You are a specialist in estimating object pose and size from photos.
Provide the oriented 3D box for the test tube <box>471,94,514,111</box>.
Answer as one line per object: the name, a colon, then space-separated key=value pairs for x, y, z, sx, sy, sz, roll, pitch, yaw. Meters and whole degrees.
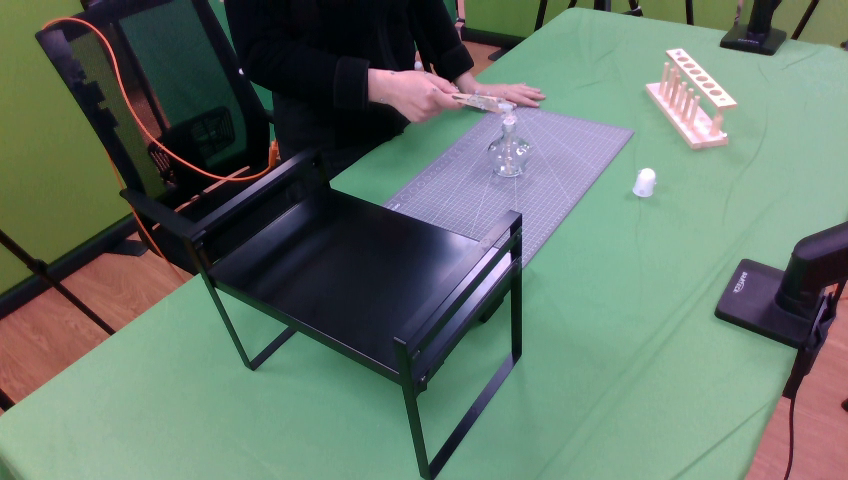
test tube: x=0.113 y=-0.221 z=0.975 sx=0.017 sy=0.017 sz=0.151 roll=18 pitch=15 yaw=27

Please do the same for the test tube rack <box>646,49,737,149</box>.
test tube rack: x=0.511 y=-0.280 z=1.175 sx=0.067 sy=0.085 sz=0.241 roll=-8 pitch=41 yaw=1

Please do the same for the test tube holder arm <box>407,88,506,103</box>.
test tube holder arm: x=0.051 y=-0.239 z=0.997 sx=0.177 sy=0.013 sz=0.015 roll=14 pitch=12 yaw=26

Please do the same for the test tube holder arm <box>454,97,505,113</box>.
test tube holder arm: x=0.088 y=-0.222 z=0.979 sx=0.087 sy=0.010 sz=0.015 roll=22 pitch=16 yaw=24

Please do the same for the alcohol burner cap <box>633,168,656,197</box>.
alcohol burner cap: x=0.374 y=-0.099 z=1.018 sx=0.034 sy=0.048 sz=0.033 roll=-1 pitch=42 yaw=1

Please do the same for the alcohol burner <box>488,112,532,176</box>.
alcohol burner: x=0.155 y=-0.176 z=1.083 sx=0.078 sy=0.119 sz=0.077 roll=-3 pitch=41 yaw=3
